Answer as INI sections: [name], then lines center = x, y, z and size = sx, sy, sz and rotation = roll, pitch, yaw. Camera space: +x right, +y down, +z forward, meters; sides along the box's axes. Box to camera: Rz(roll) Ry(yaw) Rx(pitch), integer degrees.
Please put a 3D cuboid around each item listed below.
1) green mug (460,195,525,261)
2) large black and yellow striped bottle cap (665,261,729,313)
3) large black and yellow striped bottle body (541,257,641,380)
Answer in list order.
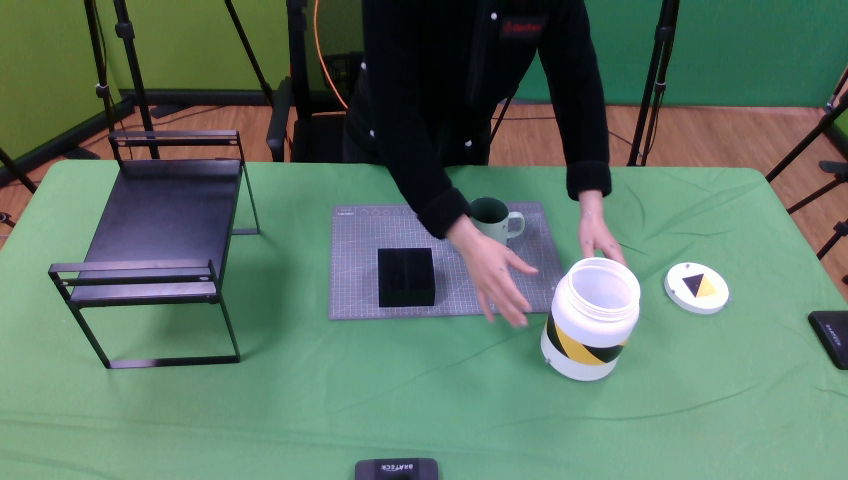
[green mug]
center = 0.135, -0.024, 1.168
size = 0.125, 0.105, 0.092
rotation = -8, 47, -11
[large black and yellow striped bottle cap]
center = 0.519, 0.088, 1.152
size = 0.115, 0.019, 0.114
rotation = 2, 47, -2
[large black and yellow striped bottle body]
center = 0.270, 0.127, 0.981
size = 0.131, 0.185, 0.130
rotation = 2, 47, -2
